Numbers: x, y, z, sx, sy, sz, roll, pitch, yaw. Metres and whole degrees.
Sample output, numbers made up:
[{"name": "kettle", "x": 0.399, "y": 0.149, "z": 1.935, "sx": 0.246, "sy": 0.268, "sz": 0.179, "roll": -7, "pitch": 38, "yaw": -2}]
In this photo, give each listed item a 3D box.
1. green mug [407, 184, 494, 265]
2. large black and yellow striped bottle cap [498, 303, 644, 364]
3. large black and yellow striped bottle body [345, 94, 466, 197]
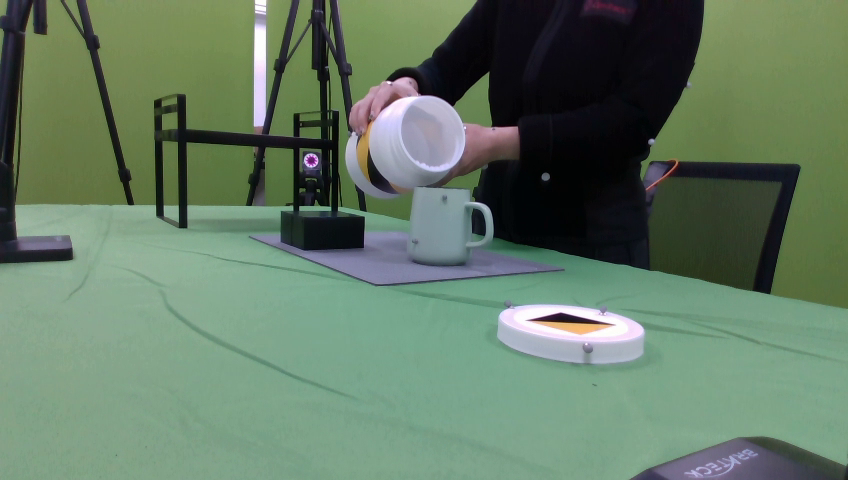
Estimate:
[{"name": "green mug", "x": 0.038, "y": -0.021, "z": 0.827, "sx": 0.125, "sy": 0.105, "sz": 0.093, "roll": 7, "pitch": 8, "yaw": 30}, {"name": "large black and yellow striped bottle cap", "x": 0.117, "y": 0.072, "z": 0.486, "sx": 0.115, "sy": 0.019, "sz": 0.115, "roll": 1, "pitch": 8, "yaw": 0}, {"name": "large black and yellow striped bottle body", "x": -0.030, "y": -0.141, "z": 0.913, "sx": 0.131, "sy": 0.130, "sz": 0.183, "roll": -2, "pitch": -4, "yaw": -28}]
